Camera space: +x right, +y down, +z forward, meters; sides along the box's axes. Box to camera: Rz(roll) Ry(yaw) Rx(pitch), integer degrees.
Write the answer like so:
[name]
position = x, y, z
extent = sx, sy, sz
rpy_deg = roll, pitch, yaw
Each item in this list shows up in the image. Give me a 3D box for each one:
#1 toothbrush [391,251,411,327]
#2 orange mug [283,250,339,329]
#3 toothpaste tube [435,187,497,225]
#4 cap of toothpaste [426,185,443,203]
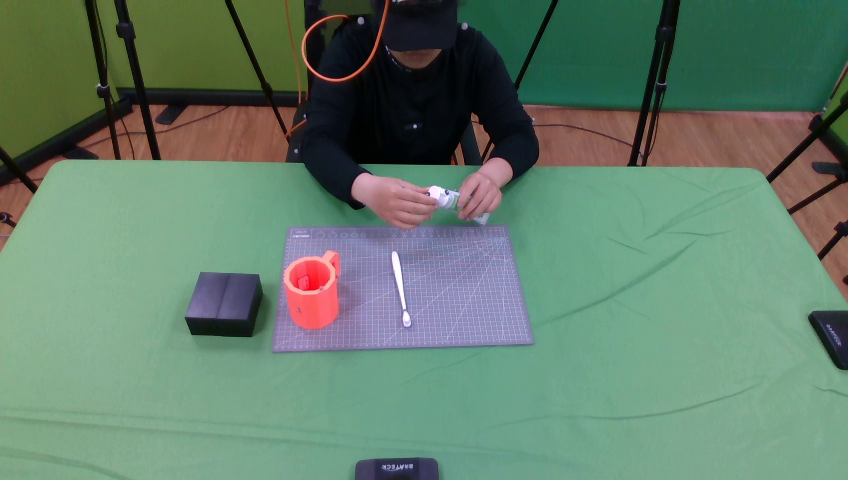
[toothbrush]
position = -0.044, 0.085, 1.112
extent = 0.014, 0.017, 0.180
rpy_deg = -14, 46, 0
[orange mug]
position = -0.186, 0.079, 1.052
extent = 0.083, 0.101, 0.126
rpy_deg = 20, 52, 15
[toothpaste tube]
position = 0.077, -0.071, 1.170
extent = 0.166, 0.055, 0.034
rpy_deg = 15, 21, -43
[cap of toothpaste]
position = 0.019, -0.084, 1.116
extent = 0.011, 0.037, 0.037
rpy_deg = 20, 28, -47
